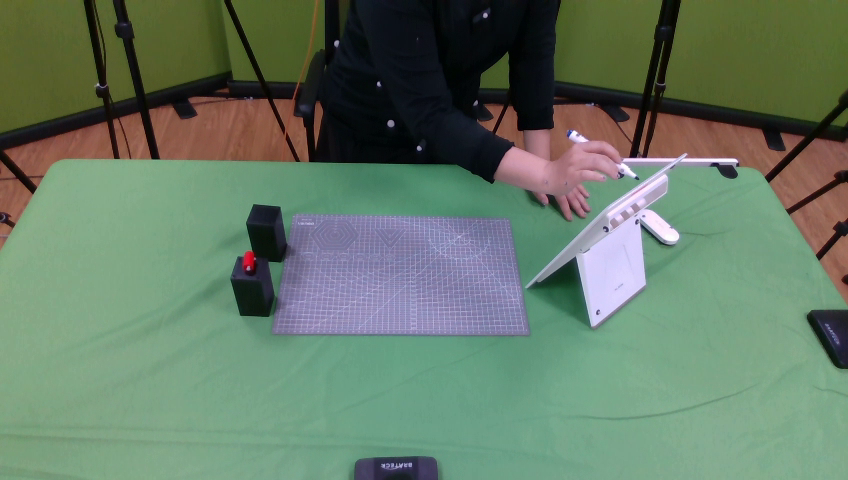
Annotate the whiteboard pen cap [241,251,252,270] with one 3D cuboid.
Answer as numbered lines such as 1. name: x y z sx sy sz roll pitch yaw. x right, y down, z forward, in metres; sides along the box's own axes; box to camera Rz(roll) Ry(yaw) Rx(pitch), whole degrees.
1. whiteboard pen cap: -0.293 0.033 1.006 0.017 0.017 0.032 -3 44 -7

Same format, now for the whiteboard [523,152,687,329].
1. whiteboard: 0.347 0.025 1.046 0.217 0.306 0.143 -30 74 -29

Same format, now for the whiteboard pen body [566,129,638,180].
1. whiteboard pen body: 0.296 -0.140 1.004 0.140 0.017 0.017 37 53 11

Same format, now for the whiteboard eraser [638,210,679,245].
1. whiteboard eraser: 0.486 -0.026 1.260 0.041 0.019 0.100 -21 50 -20
